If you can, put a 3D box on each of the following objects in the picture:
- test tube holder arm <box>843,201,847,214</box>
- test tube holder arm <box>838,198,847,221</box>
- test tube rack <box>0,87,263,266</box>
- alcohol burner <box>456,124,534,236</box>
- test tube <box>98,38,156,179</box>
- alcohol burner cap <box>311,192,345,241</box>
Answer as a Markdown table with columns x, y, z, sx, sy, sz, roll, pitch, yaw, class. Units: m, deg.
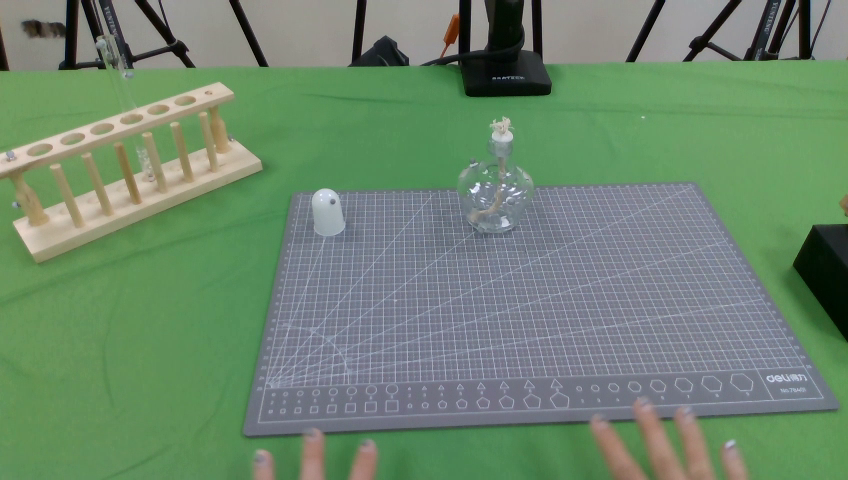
| x | y | z | sx | sy | sz | roll | pitch | yaw | class |
| --- | --- | --- | --- | --- | --- | --- | --- | --- | --- |
| 0.400 | 0.024 | 0.501 | 0.013 | 0.015 | 0.176 | 0 | 42 | -2 | test tube holder arm |
| 0.393 | -0.006 | 0.535 | 0.010 | 0.015 | 0.087 | 1 | 42 | 0 | test tube holder arm |
| -0.297 | -0.073 | 0.628 | 0.242 | 0.086 | 0.066 | -29 | 49 | -30 | test tube rack |
| 0.071 | -0.063 | 0.594 | 0.078 | 0.120 | 0.077 | 1 | 42 | -1 | alcohol burner |
| -0.298 | -0.128 | 0.615 | 0.017 | 0.151 | 0.017 | -1 | 37 | 1 | test tube |
| -0.097 | -0.027 | 0.605 | 0.034 | 0.048 | 0.033 | 1 | 41 | 0 | alcohol burner cap |
